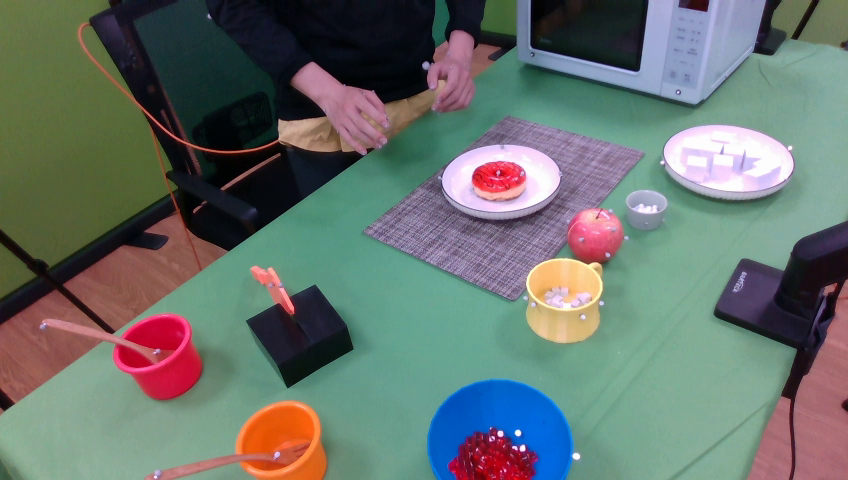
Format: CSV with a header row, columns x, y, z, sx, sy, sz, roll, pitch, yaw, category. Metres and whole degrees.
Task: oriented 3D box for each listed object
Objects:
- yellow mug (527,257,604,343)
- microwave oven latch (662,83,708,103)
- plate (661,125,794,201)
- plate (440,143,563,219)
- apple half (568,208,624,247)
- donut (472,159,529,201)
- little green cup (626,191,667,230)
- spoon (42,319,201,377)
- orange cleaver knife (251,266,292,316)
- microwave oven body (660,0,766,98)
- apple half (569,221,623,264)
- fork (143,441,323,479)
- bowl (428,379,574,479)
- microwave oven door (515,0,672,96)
x,y,z,sx,sy,sz,roll,pitch,yaw,category
0.201,0.072,0.825,0.131,0.064,0.099,-32,46,-27,yellow mug
0.517,-0.296,1.204,0.078,0.029,0.030,27,52,35,microwave oven latch
0.513,-0.128,1.035,0.207,0.039,0.206,-4,40,4,plate
0.134,-0.098,1.051,0.209,0.038,0.208,-4,40,4,plate
0.259,-0.014,0.914,0.080,0.075,0.053,0,36,15,apple half
0.132,-0.105,1.043,0.099,0.048,0.098,-5,38,4,donut
0.352,-0.046,0.963,0.061,0.039,0.061,-4,40,4,little green cup
-0.385,0.135,0.779,0.195,0.021,0.041,29,37,-26,spoon
-0.221,0.071,0.873,0.012,0.077,0.210,-25,11,-21,orange cleaver knife
0.472,-0.513,1.317,0.438,0.261,0.327,26,51,34,microwave oven body
0.251,0.010,0.884,0.081,0.081,0.032,3,37,12,apple half
-0.189,0.231,0.631,0.028,0.018,0.209,36,13,37,fork
0.082,0.233,0.644,0.151,0.077,0.150,-4,39,4,bowl
0.343,-0.455,1.259,0.353,0.245,0.039,26,51,33,microwave oven door
